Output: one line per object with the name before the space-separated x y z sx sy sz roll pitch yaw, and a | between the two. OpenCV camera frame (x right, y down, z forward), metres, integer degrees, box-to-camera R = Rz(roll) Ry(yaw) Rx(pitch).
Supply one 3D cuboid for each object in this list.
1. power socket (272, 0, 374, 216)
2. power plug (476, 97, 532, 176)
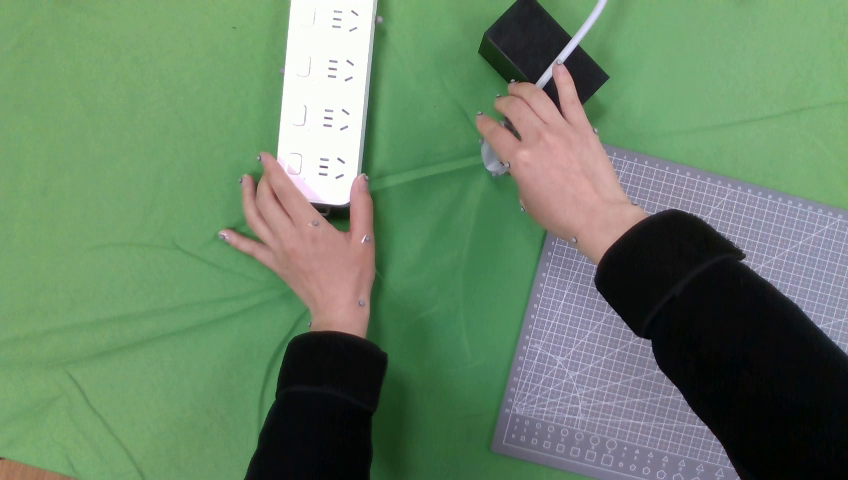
power socket | -0.088 -0.135 0.531 0.072 0.032 0.226 6 90 -3
power plug | 0.077 -0.082 0.525 0.053 0.072 0.035 28 50 -37
